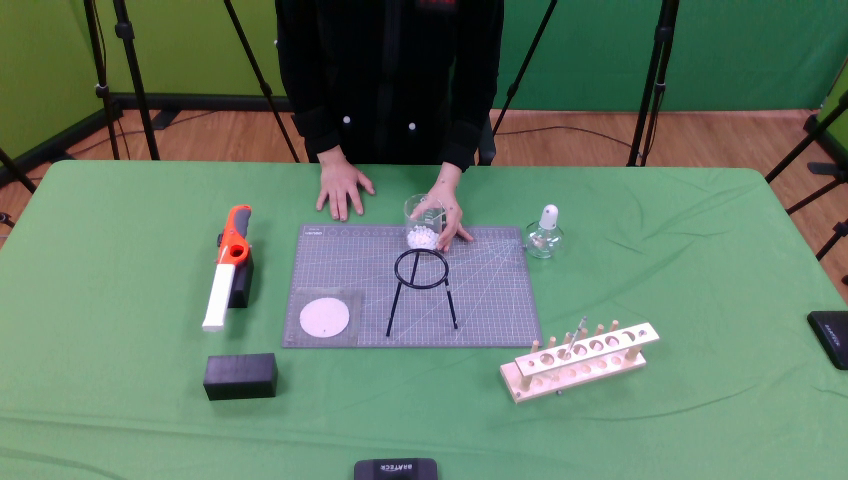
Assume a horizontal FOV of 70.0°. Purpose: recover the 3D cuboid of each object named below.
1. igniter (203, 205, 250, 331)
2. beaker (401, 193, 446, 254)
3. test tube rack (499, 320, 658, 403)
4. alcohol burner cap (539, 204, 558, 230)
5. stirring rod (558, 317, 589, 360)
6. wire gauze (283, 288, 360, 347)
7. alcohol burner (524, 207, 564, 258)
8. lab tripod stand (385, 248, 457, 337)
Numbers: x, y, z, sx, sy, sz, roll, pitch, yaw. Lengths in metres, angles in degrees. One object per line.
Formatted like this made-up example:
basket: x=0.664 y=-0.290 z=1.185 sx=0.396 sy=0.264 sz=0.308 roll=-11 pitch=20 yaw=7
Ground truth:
igniter: x=-0.345 y=0.039 z=1.065 sx=0.057 sy=0.025 sz=0.274 roll=3 pitch=49 yaw=-6
beaker: x=-0.001 y=-0.028 z=1.161 sx=0.084 sy=0.101 sz=0.073 roll=4 pitch=49 yaw=4
test tube rack: x=0.252 y=0.187 z=0.994 sx=0.243 sy=0.085 sz=0.066 roll=-12 pitch=48 yaw=-15
alcohol burner cap: x=0.238 y=-0.046 z=1.148 sx=0.034 sy=0.048 sz=0.033 roll=2 pitch=42 yaw=-1
stirring rod: x=0.221 y=0.155 z=0.912 sx=0.014 sy=0.177 sz=0.006 roll=5 pitch=58 yaw=3
wire gauze: x=-0.178 y=0.132 z=1.063 sx=0.125 sy=0.011 sz=0.120 roll=2 pitch=46 yaw=1
alcohol burner: x=0.236 y=-0.021 z=1.174 sx=0.078 sy=0.120 sz=0.077 roll=1 pitch=48 yaw=-1
lab tripod stand: x=-0.010 y=0.087 z=1.032 sx=0.148 sy=0.132 sz=0.147 roll=1 pitch=45 yaw=-1
